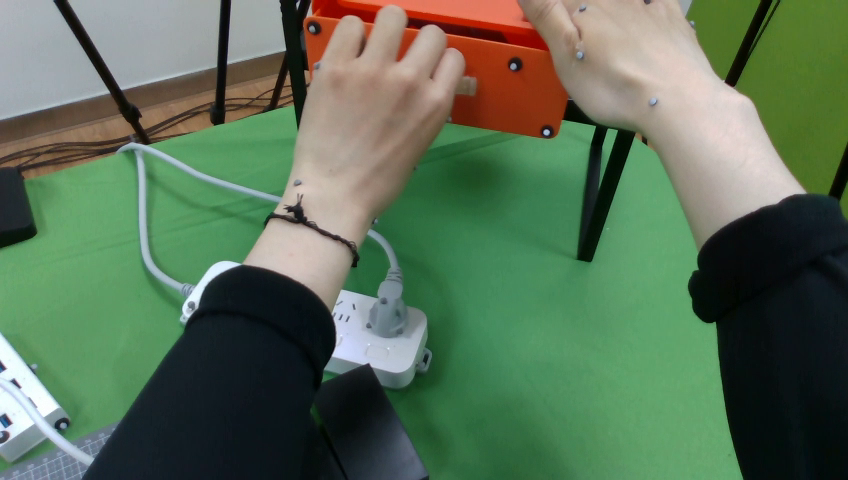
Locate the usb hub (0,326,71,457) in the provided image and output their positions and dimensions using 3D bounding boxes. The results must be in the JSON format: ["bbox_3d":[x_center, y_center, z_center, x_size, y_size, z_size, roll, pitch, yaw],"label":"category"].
[{"bbox_3d":[-0.340,0.113,0.484,0.124,0.025,0.049,34,53,25],"label":"usb hub"}]

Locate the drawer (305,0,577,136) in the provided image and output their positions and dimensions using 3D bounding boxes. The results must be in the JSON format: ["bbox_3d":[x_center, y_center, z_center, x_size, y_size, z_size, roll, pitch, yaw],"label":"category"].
[{"bbox_3d":[0.028,-0.187,0.511,0.194,0.074,0.210,10,46,6],"label":"drawer"}]

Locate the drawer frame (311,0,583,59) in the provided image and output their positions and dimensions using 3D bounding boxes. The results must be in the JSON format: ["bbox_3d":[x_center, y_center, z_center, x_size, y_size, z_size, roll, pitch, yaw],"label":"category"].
[{"bbox_3d":[0.033,-0.209,0.529,0.201,0.083,0.212,9,46,5],"label":"drawer frame"}]

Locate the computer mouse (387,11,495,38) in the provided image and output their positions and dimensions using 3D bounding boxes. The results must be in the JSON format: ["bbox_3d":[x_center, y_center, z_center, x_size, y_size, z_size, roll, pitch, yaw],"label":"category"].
[{"bbox_3d":[0.023,-0.162,0.504,0.063,0.041,0.116,-27,59,-30],"label":"computer mouse"}]

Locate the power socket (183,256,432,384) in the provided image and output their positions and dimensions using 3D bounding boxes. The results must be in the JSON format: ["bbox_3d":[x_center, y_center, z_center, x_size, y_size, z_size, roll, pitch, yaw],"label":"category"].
[{"bbox_3d":[-0.103,0.069,0.538,0.226,0.033,0.071,13,46,9],"label":"power socket"}]

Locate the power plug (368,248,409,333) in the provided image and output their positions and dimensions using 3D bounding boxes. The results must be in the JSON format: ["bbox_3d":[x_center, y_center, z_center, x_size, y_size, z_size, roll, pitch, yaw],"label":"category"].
[{"bbox_3d":[-0.022,0.051,0.530,0.035,0.053,0.072,21,50,17],"label":"power plug"}]
